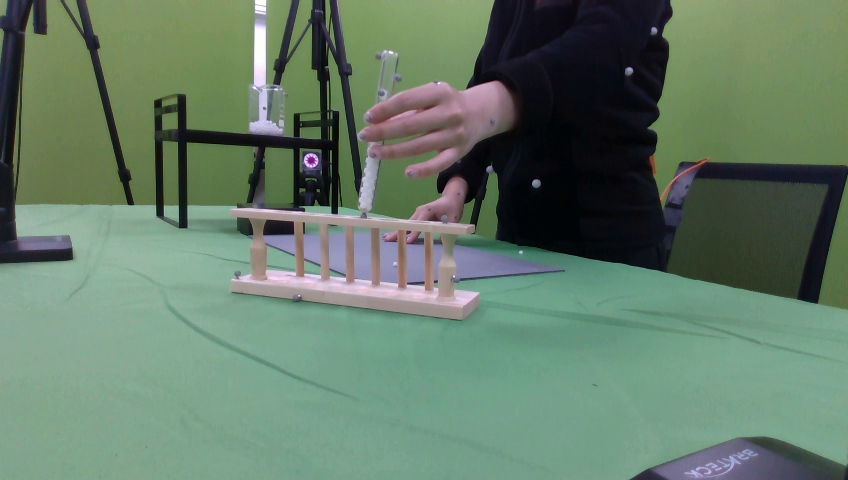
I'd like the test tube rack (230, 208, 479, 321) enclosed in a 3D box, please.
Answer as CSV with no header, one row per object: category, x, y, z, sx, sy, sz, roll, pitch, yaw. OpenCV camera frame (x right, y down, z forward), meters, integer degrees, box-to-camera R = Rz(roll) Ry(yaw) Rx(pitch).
test tube rack,-0.069,0.018,0.598,0.242,0.085,0.067,5,8,18

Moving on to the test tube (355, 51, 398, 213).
test tube,-0.045,-0.099,0.564,0.017,0.150,0.017,11,8,-1

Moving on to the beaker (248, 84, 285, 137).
beaker,-0.321,-0.261,1.225,0.074,0.100,0.084,3,8,3
